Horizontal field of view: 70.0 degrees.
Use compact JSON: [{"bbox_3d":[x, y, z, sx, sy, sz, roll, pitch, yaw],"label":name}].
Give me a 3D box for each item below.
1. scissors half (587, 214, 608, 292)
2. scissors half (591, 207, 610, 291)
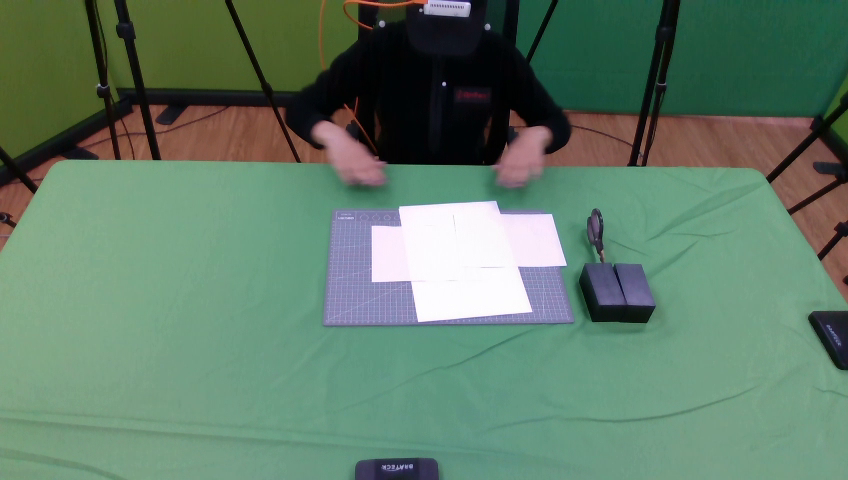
[{"bbox_3d":[0.344,0.025,1.195,0.013,0.040,0.174,2,56,-8],"label":"scissors half"},{"bbox_3d":[0.346,0.016,1.178,0.013,0.040,0.174,-1,70,-3],"label":"scissors half"}]
